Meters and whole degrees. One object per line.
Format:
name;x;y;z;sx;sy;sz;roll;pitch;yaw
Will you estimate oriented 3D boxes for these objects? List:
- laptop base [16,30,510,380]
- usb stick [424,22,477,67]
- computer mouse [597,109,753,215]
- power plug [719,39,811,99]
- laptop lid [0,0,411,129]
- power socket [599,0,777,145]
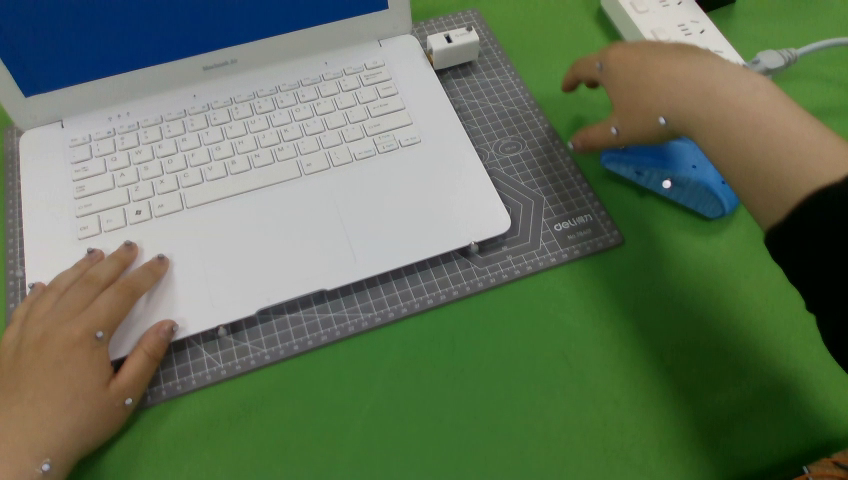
laptop base;-0.135;-0.049;0.490;0.355;0.023;0.233;-18;64;-10
usb stick;0.017;-0.176;0.552;0.059;0.027;0.021;-18;61;-6
computer mouse;0.203;-0.070;0.490;0.116;0.041;0.062;28;66;23
power plug;0.285;-0.136;0.508;0.072;0.053;0.035;-6;62;-4
laptop lid;-0.188;-0.223;0.461;0.357;0.244;0.013;-19;48;-9
power socket;0.235;-0.178;0.557;0.072;0.033;0.224;-15;59;-7
